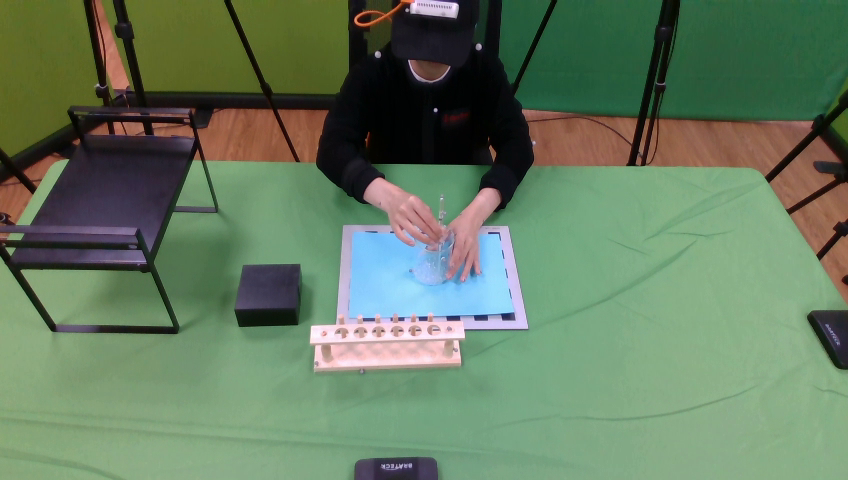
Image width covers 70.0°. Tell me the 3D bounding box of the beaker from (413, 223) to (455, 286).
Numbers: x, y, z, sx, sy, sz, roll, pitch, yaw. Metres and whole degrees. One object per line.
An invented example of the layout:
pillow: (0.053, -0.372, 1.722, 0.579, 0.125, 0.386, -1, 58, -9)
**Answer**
beaker: (0.018, 0.027, 1.110, 0.073, 0.101, 0.084, 37, 54, 27)

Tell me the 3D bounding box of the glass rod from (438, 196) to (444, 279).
glass rod: (0.029, 0.001, 1.054, 0.008, 0.201, 0.008, 0, 45, 0)

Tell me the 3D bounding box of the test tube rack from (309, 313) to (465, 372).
test tube rack: (-0.059, 0.161, 0.990, 0.242, 0.085, 0.066, -1, 46, -5)
